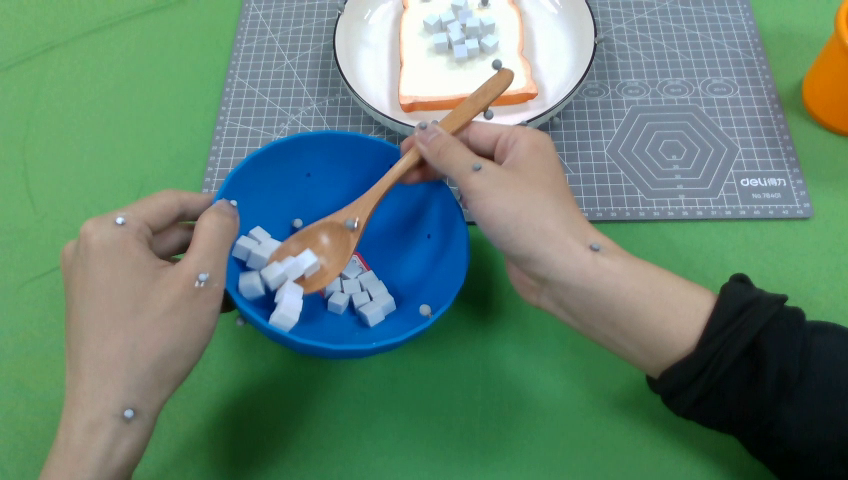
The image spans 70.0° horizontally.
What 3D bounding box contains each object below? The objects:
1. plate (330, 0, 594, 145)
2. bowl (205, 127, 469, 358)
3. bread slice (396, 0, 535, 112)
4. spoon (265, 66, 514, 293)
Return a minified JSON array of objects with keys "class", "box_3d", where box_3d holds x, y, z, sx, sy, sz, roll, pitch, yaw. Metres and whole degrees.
[{"class":"plate","box_3d":[0.029,-0.159,0.494,0.209,0.038,0.207,-1,63,3]},{"class":"bowl","box_3d":[-0.055,0.012,0.379,0.152,0.077,0.150,8,57,-12]},{"class":"bread slice","box_3d":[0.026,-0.163,0.499,0.107,0.018,0.133,-7,65,1]},{"class":"spoon","box_3d":[-0.016,-0.040,0.358,0.193,0.022,0.041,-44,66,-4]}]
